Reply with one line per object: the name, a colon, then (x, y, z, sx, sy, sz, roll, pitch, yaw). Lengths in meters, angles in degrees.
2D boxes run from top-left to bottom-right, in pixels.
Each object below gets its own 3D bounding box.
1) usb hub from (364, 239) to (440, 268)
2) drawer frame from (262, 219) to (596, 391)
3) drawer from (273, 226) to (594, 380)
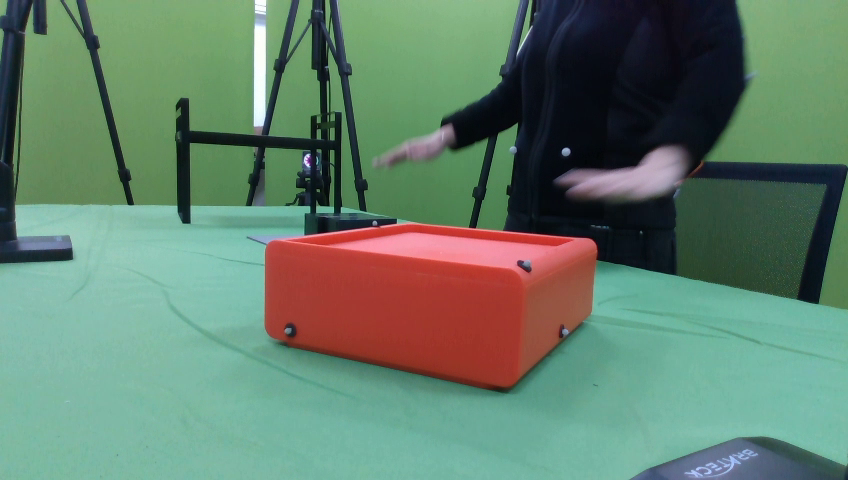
usb hub: (-0.028, 0.017, 0.829, 0.049, 0.025, 0.126, 5, 7, 29)
drawer frame: (0.017, 0.036, 0.495, 0.201, 0.082, 0.214, 6, 9, 26)
drawer: (0.019, 0.038, 0.498, 0.194, 0.073, 0.212, 7, 9, 27)
